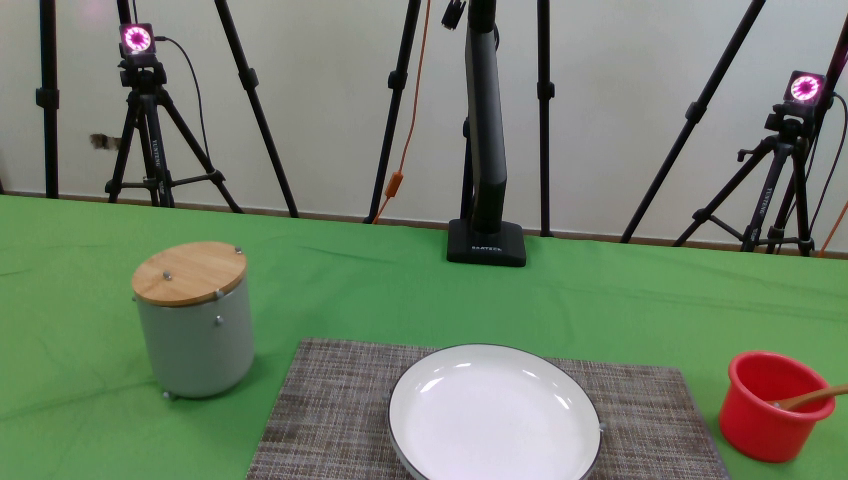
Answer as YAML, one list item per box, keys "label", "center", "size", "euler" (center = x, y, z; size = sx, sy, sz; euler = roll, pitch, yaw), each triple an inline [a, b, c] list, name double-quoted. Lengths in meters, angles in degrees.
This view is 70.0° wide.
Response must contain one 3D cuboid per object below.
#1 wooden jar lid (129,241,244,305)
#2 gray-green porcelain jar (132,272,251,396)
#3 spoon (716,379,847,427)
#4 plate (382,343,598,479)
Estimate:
- label: "wooden jar lid"
  center: [-0.235, 0.035, 0.606]
  size: [0.108, 0.021, 0.107]
  euler: [1, 31, 0]
- label: "gray-green porcelain jar"
  center: [-0.240, 0.091, 0.638]
  size: [0.106, 0.127, 0.105]
  euler: [3, 30, -1]
- label: "spoon"
  center: [0.384, 0.151, 0.591]
  size: [0.193, 0.022, 0.041]
  euler: [-31, 8, 37]
- label: "plate"
  center: [0.062, 0.182, 0.598]
  size: [0.208, 0.039, 0.206]
  euler: [3, 30, -1]
